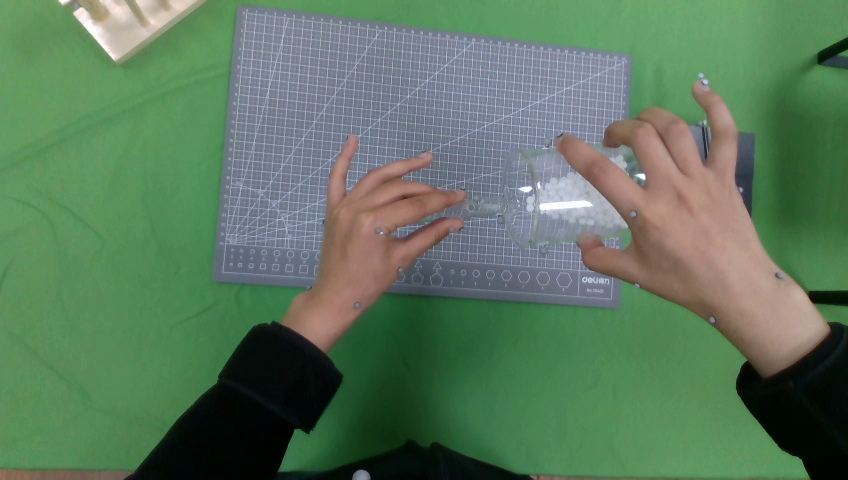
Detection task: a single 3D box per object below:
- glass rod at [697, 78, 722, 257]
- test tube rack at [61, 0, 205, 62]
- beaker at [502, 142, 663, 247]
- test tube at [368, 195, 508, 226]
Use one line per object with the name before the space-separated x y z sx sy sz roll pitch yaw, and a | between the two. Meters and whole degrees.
glass rod | 0.315 -0.081 0.669 0.008 0.008 0.199 -5 88 -8
test tube rack | -0.245 -0.291 0.609 0.242 0.085 0.067 -41 92 -9
beaker | 0.115 -0.035 0.450 0.100 0.084 0.074 -4 88 -11
test tube | 0.007 -0.025 0.525 0.017 0.149 0.017 5 83 -50
